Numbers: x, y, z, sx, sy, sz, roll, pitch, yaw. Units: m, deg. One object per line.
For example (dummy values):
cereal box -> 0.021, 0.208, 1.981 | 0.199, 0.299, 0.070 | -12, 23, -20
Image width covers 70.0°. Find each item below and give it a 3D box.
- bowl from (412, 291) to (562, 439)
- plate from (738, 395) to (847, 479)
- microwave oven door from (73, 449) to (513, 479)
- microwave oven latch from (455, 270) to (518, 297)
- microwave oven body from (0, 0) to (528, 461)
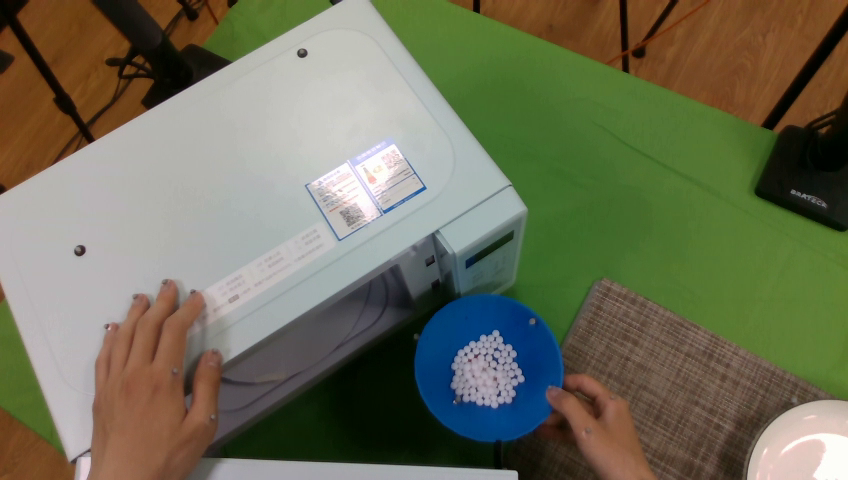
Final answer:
bowl -> 0.063, 0.137, 0.637 | 0.151, 0.077, 0.150 | 0, 65, 0
plate -> 0.437, 0.271, 0.638 | 0.207, 0.039, 0.206 | -2, 70, 4
microwave oven door -> -0.095, 0.223, 0.578 | 0.355, 0.245, 0.039 | 0, 70, 5
microwave oven latch -> 0.075, 0.054, 0.734 | 0.079, 0.030, 0.030 | -31, 71, -5
microwave oven body -> -0.162, 0.000, 0.671 | 0.442, 0.262, 0.323 | -33, 71, -6
